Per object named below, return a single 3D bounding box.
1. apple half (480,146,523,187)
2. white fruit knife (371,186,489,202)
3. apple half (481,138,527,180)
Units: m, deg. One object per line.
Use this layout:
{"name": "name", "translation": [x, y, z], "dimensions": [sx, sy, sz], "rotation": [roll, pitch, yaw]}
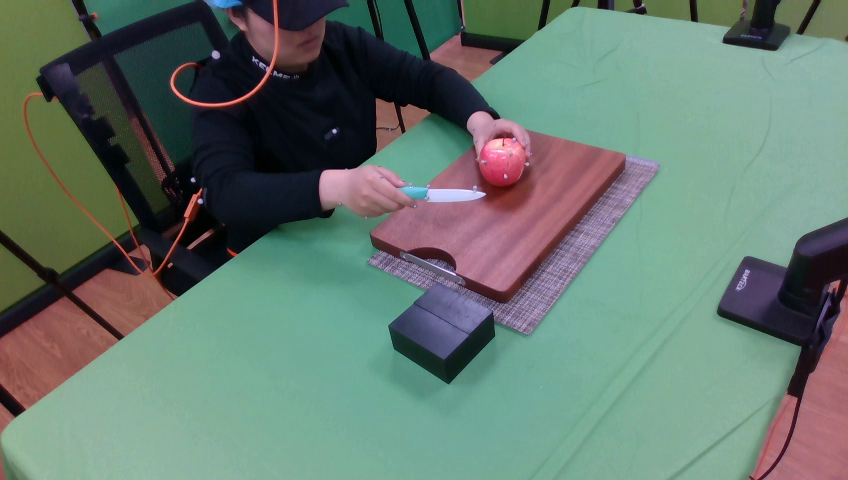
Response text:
{"name": "apple half", "translation": [0.127, -0.118, 1.015], "dimensions": [0.081, 0.081, 0.033], "rotation": [9, 39, 22]}
{"name": "white fruit knife", "translation": [0.003, -0.068, 0.894], "dimensions": [0.206, 0.027, 0.016], "rotation": [2, 38, 32]}
{"name": "apple half", "translation": [0.142, -0.141, 1.043], "dimensions": [0.080, 0.075, 0.053], "rotation": [5, 37, 25]}
